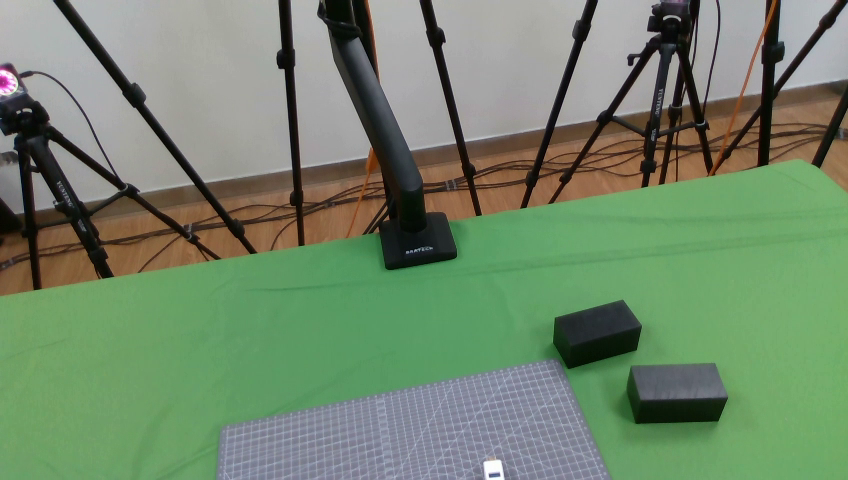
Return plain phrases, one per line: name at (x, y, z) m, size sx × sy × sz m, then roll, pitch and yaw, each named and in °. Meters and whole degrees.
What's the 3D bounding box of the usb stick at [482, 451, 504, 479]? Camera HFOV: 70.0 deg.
usb stick at (0.079, 0.263, 0.688) m, size 0.021 × 0.027 × 0.058 m, roll -8°, pitch 39°, yaw 2°
